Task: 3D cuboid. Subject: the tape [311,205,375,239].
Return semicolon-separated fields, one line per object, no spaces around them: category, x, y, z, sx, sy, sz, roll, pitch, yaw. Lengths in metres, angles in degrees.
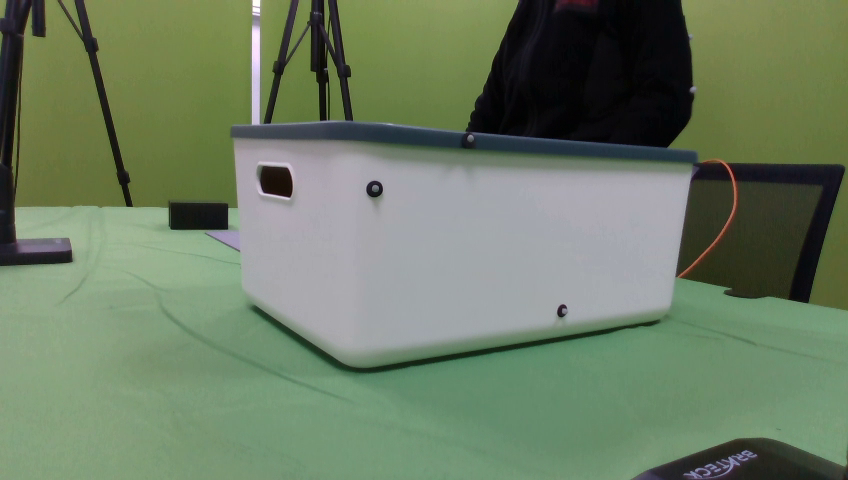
tape;-0.145;-0.034;1.097;0.117;0.052;0.117;3;8;0

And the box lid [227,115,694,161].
box lid;0.032;-0.086;0.553;0.373;0.015;0.262;-2;8;-33

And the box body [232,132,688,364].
box body;0.031;-0.013;0.563;0.366;0.160;0.253;-3;8;-33
